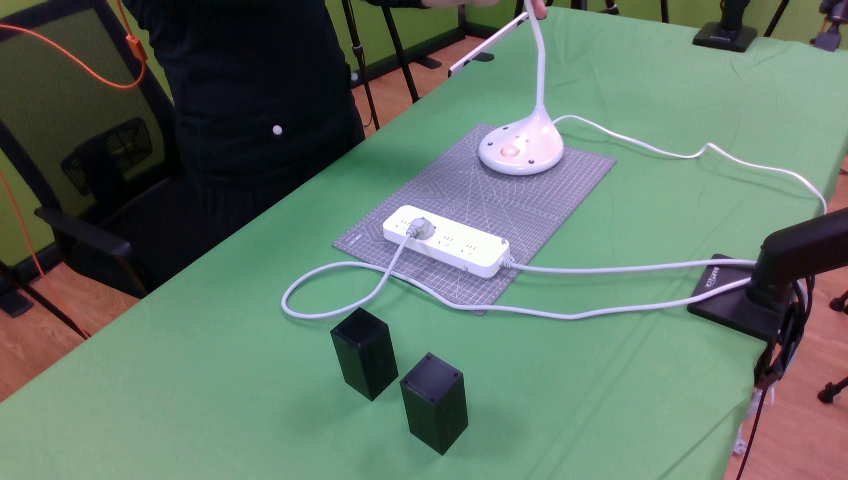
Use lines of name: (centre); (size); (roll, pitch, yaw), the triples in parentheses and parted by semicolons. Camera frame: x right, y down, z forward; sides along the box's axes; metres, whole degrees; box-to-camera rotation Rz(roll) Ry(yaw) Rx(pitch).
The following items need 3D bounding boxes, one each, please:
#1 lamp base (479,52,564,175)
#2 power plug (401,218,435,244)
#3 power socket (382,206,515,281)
lamp base: (0.182, -0.237, 1.095); (0.159, 0.181, 0.179); (19, 44, 28)
power plug: (-0.014, -0.005, 0.937); (0.073, 0.053, 0.035); (-38, 47, -26)
power socket: (0.032, 0.002, 0.950); (0.225, 0.033, 0.072); (21, 49, 29)
